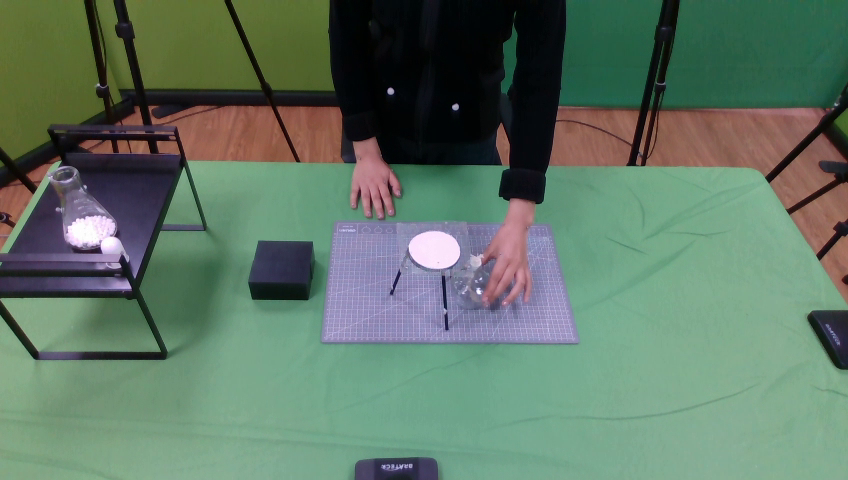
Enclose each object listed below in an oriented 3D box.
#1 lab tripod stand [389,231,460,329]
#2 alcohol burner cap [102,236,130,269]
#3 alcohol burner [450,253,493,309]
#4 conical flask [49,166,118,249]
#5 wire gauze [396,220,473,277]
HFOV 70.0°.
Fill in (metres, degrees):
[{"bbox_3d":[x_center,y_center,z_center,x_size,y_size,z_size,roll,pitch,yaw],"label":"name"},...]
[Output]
[{"bbox_3d":[0.015,0.063,1.058,0.148,0.132,0.147,4,46,-4],"label":"lab tripod stand"},{"bbox_3d":[-0.451,0.016,0.883,0.034,0.048,0.033,3,44,-3],"label":"alcohol burner cap"},{"bbox_3d":[0.086,0.066,1.074,0.078,0.119,0.077,3,45,-3],"label":"alcohol burner"},{"bbox_3d":[-0.505,-0.051,0.888,0.075,0.122,0.075,2,45,-2],"label":"conical flask"},{"bbox_3d":[0.016,0.012,1.013,0.125,0.011,0.120,1,47,-5],"label":"wire gauze"}]
